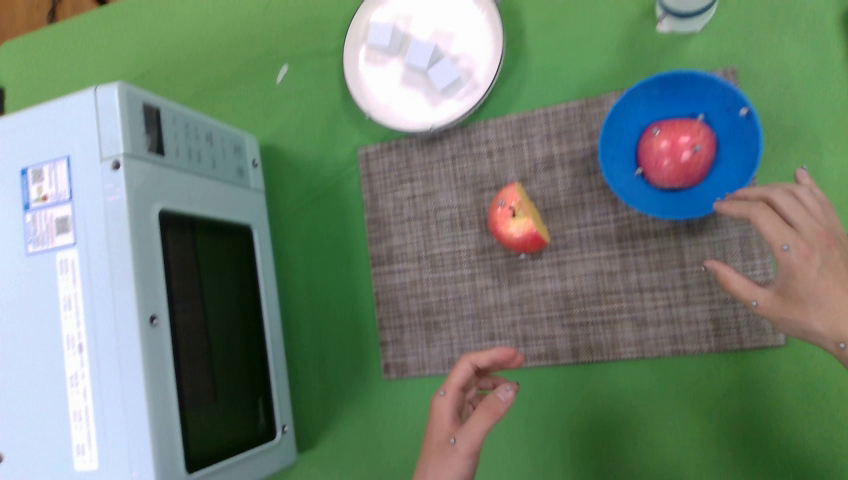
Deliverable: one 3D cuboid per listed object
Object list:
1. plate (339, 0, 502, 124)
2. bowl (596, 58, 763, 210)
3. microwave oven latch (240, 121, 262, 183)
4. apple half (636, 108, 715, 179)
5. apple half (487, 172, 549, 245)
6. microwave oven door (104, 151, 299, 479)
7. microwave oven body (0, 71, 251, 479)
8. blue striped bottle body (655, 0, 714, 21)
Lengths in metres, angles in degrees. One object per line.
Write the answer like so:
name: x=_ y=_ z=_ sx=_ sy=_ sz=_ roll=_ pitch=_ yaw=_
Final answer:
plate: x=-0.004 y=-0.242 z=0.747 sx=0.207 sy=0.039 sz=0.207 roll=-1 pitch=87 yaw=18
bowl: x=0.257 y=-0.101 z=0.625 sx=0.151 sy=0.077 sz=0.151 roll=-1 pitch=87 yaw=19
microwave oven latch: x=-0.235 y=-0.114 z=0.798 sx=0.030 sy=0.029 sz=0.079 roll=-10 pitch=85 yaw=17
apple half: x=0.258 y=-0.101 z=0.620 sx=0.081 sy=0.033 sz=0.081 roll=-2 pitch=85 yaw=19
apple half: x=0.100 y=-0.029 z=0.677 sx=0.053 sy=0.075 sz=0.080 roll=-30 pitch=82 yaw=19
microwave oven door: x=-0.238 y=0.095 z=0.680 sx=0.039 sy=0.245 sz=0.354 roll=-11 pitch=83 yaw=18
microwave oven body: x=-0.380 y=0.080 z=0.734 sx=0.325 sy=0.261 sz=0.440 roll=-10 pitch=84 yaw=17
blue striped bottle body: x=0.269 y=-0.275 z=0.612 sx=0.063 sy=0.121 sz=0.063 roll=-1 pitch=86 yaw=19
